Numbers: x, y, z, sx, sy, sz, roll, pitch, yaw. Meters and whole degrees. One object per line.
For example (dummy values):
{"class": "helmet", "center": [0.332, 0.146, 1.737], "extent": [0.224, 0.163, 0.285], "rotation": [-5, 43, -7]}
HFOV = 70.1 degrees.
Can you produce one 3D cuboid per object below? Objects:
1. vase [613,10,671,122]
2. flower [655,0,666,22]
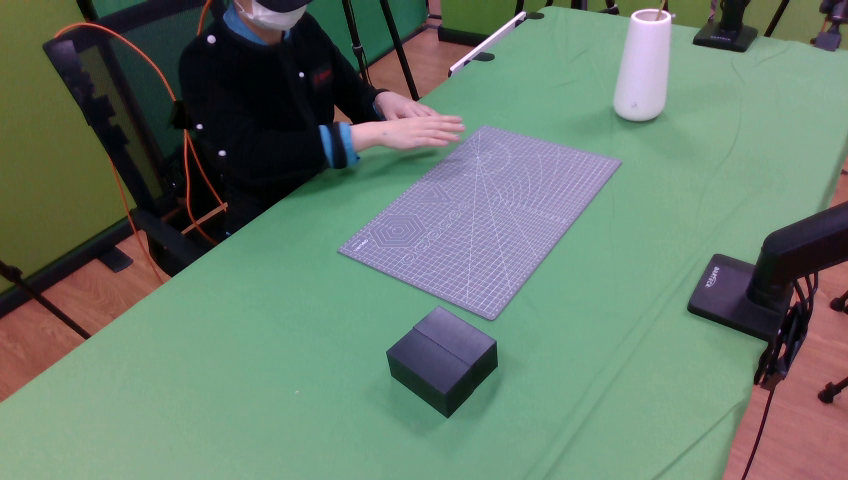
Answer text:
{"class": "vase", "center": [0.419, -0.326, 1.151], "extent": [0.098, 0.201, 0.097], "rotation": [-4, 42, 4]}
{"class": "flower", "center": [0.426, -0.398, 1.107], "extent": [0.038, 0.362, 0.043], "rotation": [-2, 32, -21]}
